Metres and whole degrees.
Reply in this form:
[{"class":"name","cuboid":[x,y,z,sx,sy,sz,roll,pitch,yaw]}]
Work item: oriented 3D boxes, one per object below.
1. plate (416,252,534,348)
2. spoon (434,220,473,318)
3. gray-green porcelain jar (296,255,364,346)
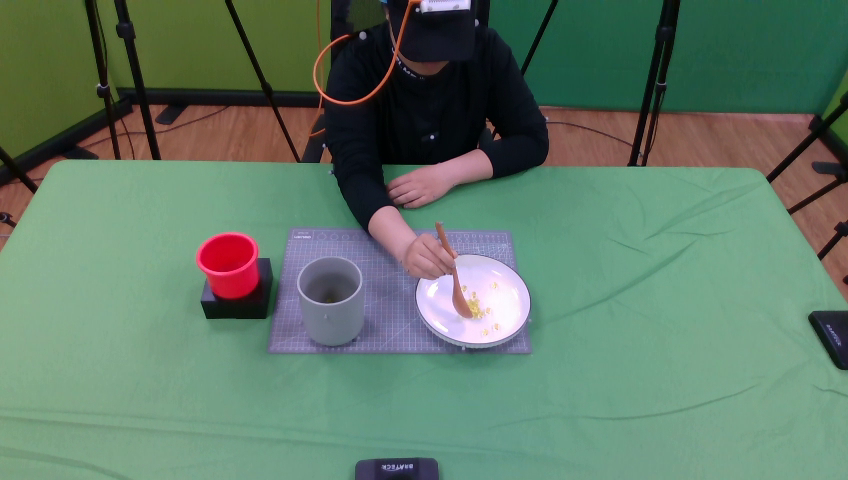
[{"class":"plate","cuboid":[0.090,0.109,1.084,0.208,0.039,0.206,2,46,-2]},{"class":"spoon","cuboid":[0.047,0.052,1.014,0.021,0.194,0.041,-28,25,-30]},{"class":"gray-green porcelain jar","cuboid":[-0.153,0.106,1.008,0.106,0.127,0.105,2,46,-2]}]
